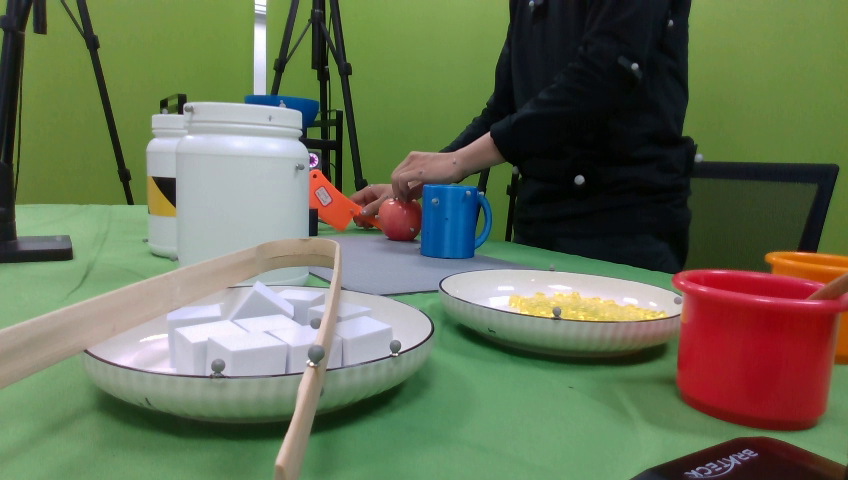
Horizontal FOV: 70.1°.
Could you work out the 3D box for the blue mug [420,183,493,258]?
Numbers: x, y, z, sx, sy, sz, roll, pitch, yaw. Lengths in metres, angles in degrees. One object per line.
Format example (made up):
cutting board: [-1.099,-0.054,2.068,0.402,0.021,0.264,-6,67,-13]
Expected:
blue mug: [0.052,-0.032,0.912,0.117,0.106,0.082,-1,8,-24]

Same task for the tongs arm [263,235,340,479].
tongs arm: [-0.074,0.039,0.349,0.051,0.026,0.384,-2,9,-3]

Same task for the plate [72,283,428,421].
plate: [-0.102,0.066,0.381,0.208,0.039,0.207,3,7,0]

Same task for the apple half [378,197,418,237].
apple half: [-0.052,-0.044,1.091,0.082,0.081,0.032,-1,14,-25]

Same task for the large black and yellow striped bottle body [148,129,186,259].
large black and yellow striped bottle body: [-0.310,-0.073,0.838,0.131,0.184,0.130,2,8,0]

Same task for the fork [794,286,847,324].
fork: [0.332,0.018,0.442,0.028,0.018,0.207,0,-36,-15]

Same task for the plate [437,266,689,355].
plate: [0.114,0.057,0.517,0.209,0.038,0.209,3,7,0]

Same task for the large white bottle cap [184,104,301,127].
large white bottle cap: [-0.184,-0.126,0.618,0.115,0.018,0.115,2,8,0]

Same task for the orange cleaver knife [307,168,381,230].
orange cleaver knife: [-0.158,-0.060,1.166,0.212,0.077,0.012,34,-13,-31]

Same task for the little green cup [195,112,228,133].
little green cup: [-0.412,-0.227,1.171,0.061,0.038,0.061,3,8,0]

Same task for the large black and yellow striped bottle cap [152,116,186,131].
large black and yellow striped bottle cap: [-0.309,-0.155,0.826,0.115,0.019,0.115,3,6,0]

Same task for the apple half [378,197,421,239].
apple half: [-0.036,-0.037,1.056,0.081,0.074,0.053,3,10,-25]

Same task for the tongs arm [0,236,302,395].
tongs arm: [-0.158,0.038,0.351,0.028,0.028,0.388,-3,8,12]

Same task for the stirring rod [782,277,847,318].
stirring rod: [0.345,0.019,0.461,0.014,0.006,0.176,-13,-27,-30]

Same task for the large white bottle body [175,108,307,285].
large white bottle body: [-0.188,-0.042,0.630,0.131,0.184,0.130,2,8,0]

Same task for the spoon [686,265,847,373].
spoon: [0.214,0.032,0.328,0.042,0.021,0.193,-2,-35,-25]

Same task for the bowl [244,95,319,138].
bowl: [-0.293,-0.251,1.249,0.151,0.077,0.151,2,8,0]
